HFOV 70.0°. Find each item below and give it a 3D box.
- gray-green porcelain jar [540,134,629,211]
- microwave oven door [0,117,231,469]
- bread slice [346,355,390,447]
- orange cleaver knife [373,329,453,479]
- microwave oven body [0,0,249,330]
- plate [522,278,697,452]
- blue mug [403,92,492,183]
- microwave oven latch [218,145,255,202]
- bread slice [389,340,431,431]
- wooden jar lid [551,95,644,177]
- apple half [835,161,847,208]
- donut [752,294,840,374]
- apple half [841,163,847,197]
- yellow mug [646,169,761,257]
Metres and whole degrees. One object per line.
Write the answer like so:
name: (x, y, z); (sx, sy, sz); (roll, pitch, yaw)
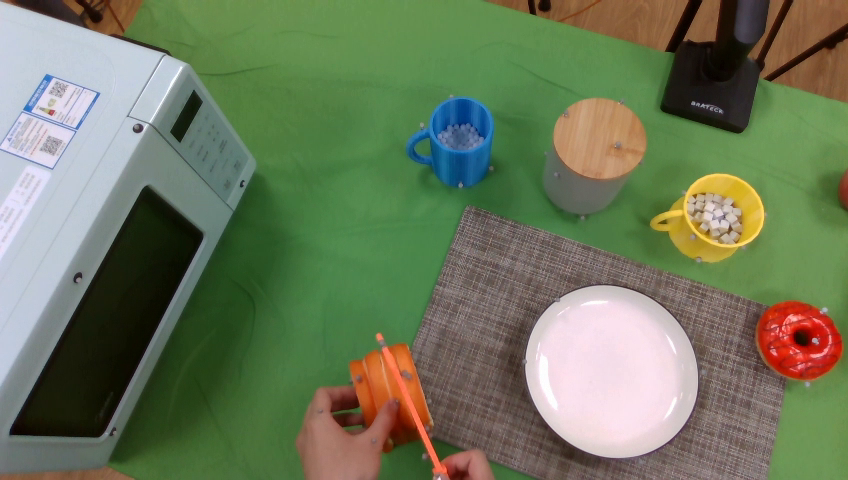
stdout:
gray-green porcelain jar: (0.208, -0.102, 0.782); (0.106, 0.127, 0.105); (-1, 72, 2)
microwave oven door: (-0.345, 0.071, 0.667); (0.039, 0.245, 0.354); (19, 74, 8)
bread slice: (-0.064, 0.181, 0.699); (0.018, 0.135, 0.106); (-19, 70, -6)
orange cleaver knife: (-0.001, 0.184, 0.588); (0.012, 0.077, 0.211); (-26, 94, -7)
microwave oven body: (-0.465, -0.013, 0.703); (0.325, 0.261, 0.440); (20, 75, 8)
plate: (0.223, 0.151, 0.744); (0.207, 0.039, 0.206); (-1, 73, 2)
blue mug: (0.030, -0.132, 0.808); (0.116, 0.106, 0.082); (-6, 72, 1)
microwave oven latch: (-0.259, -0.093, 0.822); (0.030, 0.029, 0.079); (23, 75, 9)
bread slice: (-0.016, 0.167, 0.700); (0.019, 0.132, 0.104); (-18, 73, -7)
wooden jar lid: (0.205, -0.122, 0.723); (0.108, 0.021, 0.107); (-1, 70, 2)
apple half: (0.558, -0.068, 0.784); (0.033, 0.082, 0.080); (-12, 72, -6)
donut: (0.454, 0.116, 0.743); (0.099, 0.048, 0.098); (-1, 73, 2)
apple half: (0.595, -0.077, 0.788); (0.053, 0.075, 0.080); (-11, 68, -7)
yellow mug: (0.356, -0.032, 0.786); (0.131, 0.064, 0.099); (-4, 73, 2)
